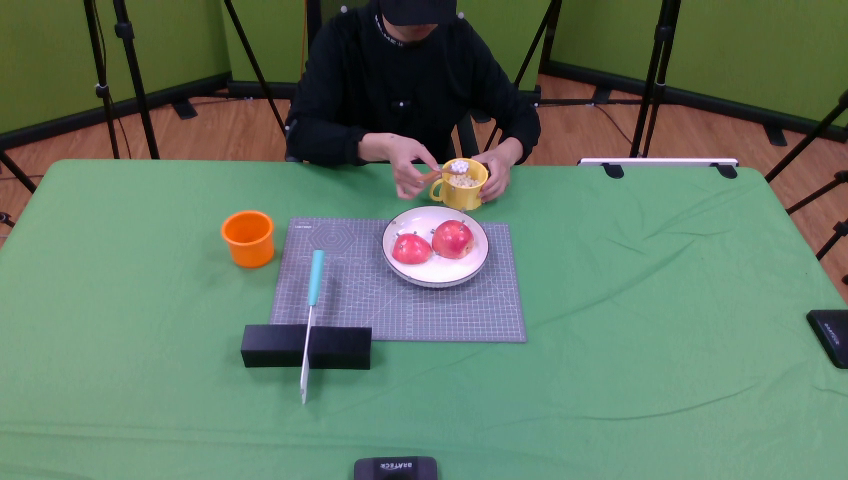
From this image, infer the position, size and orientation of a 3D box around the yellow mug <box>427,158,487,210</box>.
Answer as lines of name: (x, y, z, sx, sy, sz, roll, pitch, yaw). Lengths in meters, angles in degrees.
yellow mug: (0.067, -0.116, 1.284, 0.131, 0.064, 0.099, -17, 49, -18)

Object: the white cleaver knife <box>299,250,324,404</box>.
white cleaver knife: (-0.194, 0.134, 1.019, 0.021, 0.066, 0.284, 5, 50, -5)

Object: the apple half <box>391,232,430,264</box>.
apple half: (-0.024, 0.009, 1.163, 0.081, 0.033, 0.081, 2, 43, -2)

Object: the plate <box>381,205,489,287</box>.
plate: (0.021, 0.015, 1.170, 0.209, 0.038, 0.208, 2, 46, -2)

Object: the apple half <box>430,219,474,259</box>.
apple half: (0.056, -0.008, 1.172, 0.081, 0.053, 0.074, -34, 60, -31)

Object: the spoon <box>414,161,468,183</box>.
spoon: (0.033, -0.135, 1.195, 0.041, 0.022, 0.194, 30, 25, 22)
